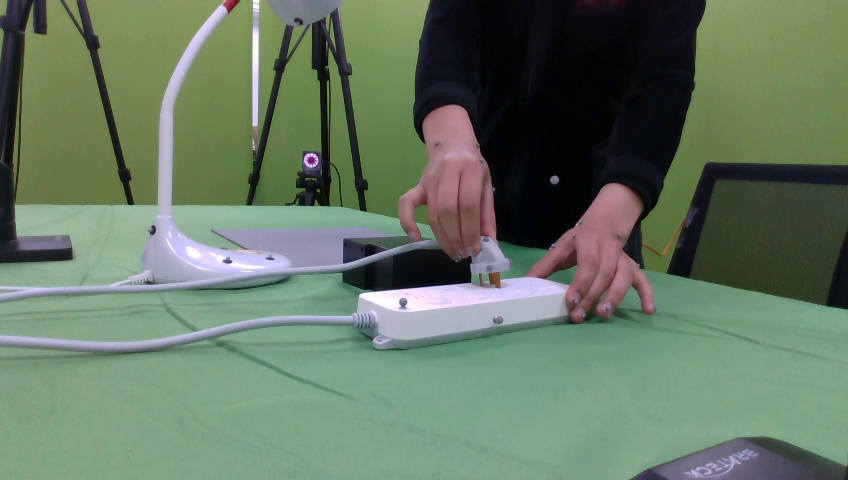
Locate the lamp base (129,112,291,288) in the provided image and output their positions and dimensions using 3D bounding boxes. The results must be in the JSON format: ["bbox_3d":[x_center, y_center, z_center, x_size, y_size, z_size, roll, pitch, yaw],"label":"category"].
[{"bbox_3d":[-0.233,-0.045,0.658,0.160,0.180,0.180,7,11,29],"label":"lamp base"}]

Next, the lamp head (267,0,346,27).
[{"bbox_3d":[-0.157,-0.326,0.701,0.112,0.112,0.123,6,-16,26],"label":"lamp head"}]

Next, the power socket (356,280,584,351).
[{"bbox_3d":[0.046,0.060,0.521,0.228,0.032,0.072,-2,7,-35],"label":"power socket"}]

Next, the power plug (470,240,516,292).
[{"bbox_3d":[0.054,0.028,0.524,0.035,0.052,0.073,-22,-1,35],"label":"power plug"}]
